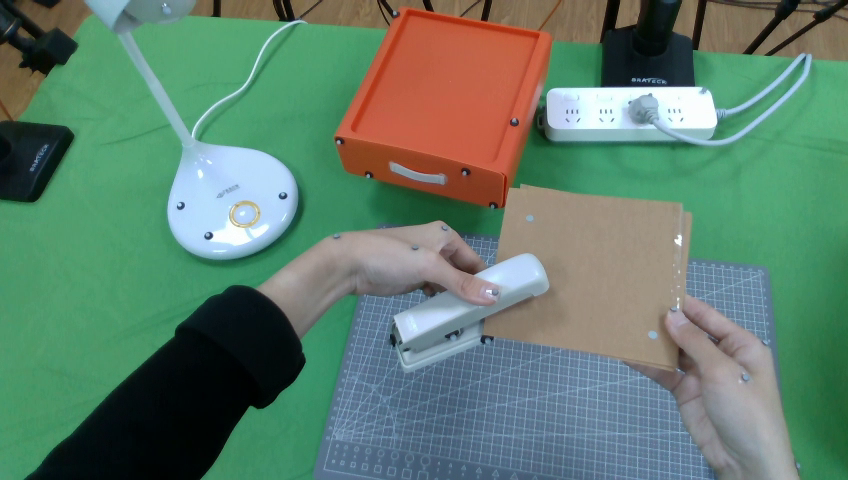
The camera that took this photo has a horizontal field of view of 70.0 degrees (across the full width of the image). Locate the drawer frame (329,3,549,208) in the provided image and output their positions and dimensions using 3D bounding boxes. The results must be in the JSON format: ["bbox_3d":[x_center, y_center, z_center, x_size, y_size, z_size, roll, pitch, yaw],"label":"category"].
[{"bbox_3d":[0.023,-0.165,0.722,0.201,0.083,0.212,14,64,12],"label":"drawer frame"}]

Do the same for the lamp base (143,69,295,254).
[{"bbox_3d":[-0.255,-0.098,0.693,0.177,0.182,0.160,38,69,25],"label":"lamp base"}]

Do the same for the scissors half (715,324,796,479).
[{"bbox_3d":[0.322,0.163,0.599,0.040,0.013,0.173,-8,59,-4],"label":"scissors half"}]

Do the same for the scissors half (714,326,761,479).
[{"bbox_3d":[0.302,0.164,0.599,0.040,0.013,0.173,10,58,0],"label":"scissors half"}]

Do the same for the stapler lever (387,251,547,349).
[{"bbox_3d":[0.031,0.041,0.432,0.118,0.040,0.026,-19,54,-7],"label":"stapler lever"}]

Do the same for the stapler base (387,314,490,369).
[{"bbox_3d":[0.035,0.052,0.450,0.130,0.025,0.041,-22,55,-3],"label":"stapler base"}]

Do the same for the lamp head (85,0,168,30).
[{"bbox_3d":[-0.227,-0.231,0.433,0.123,0.112,0.112,46,68,-16],"label":"lamp head"}]

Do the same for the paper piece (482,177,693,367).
[{"bbox_3d":[0.127,0.018,0.465,0.135,0.004,0.135,14,64,19],"label":"paper piece"}]

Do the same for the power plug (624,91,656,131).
[{"bbox_3d":[0.264,-0.152,0.746,0.035,0.053,0.072,11,62,10],"label":"power plug"}]

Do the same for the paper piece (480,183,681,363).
[{"bbox_3d":[0.119,0.018,0.455,0.135,0.009,0.137,6,62,15],"label":"paper piece"}]

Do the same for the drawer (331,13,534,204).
[{"bbox_3d":[0.023,-0.161,0.717,0.194,0.074,0.210,14,62,13],"label":"drawer"}]

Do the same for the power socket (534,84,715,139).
[{"bbox_3d":[0.258,-0.166,0.780,0.226,0.033,0.071,2,61,5],"label":"power socket"}]
